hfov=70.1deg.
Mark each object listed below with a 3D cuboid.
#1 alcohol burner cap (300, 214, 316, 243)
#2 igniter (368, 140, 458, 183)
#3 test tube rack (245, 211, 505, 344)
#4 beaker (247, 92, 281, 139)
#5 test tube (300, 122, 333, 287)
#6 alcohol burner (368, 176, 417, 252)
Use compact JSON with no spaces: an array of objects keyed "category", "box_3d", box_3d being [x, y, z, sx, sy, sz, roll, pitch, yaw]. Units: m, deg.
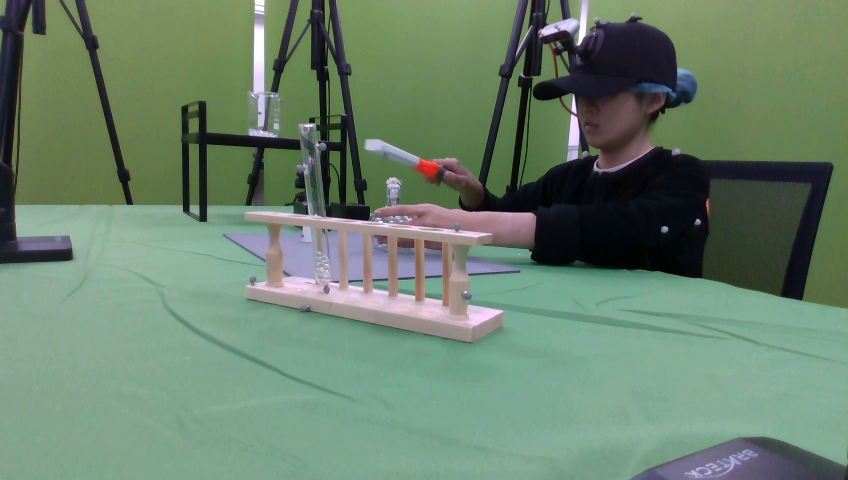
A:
[{"category":"alcohol burner cap","box_3d":[-0.186,-0.018,0.991,0.034,0.048,0.034,1,6,0]},{"category":"igniter","box_3d":[-0.012,-0.138,1.092,0.057,0.025,0.278,6,-3,29]},{"category":"test tube rack","box_3d":[-0.049,0.025,0.547,0.241,0.085,0.067,7,8,29]},{"category":"beaker","box_3d":[-0.361,-0.280,1.359,0.074,0.100,0.084,4,8,8]},{"category":"test tube","box_3d":[-0.096,-0.030,0.543,0.017,0.150,0.017,-3,14,1]},{"category":"alcohol burner","box_3d":[-0.049,-0.041,0.946,0.078,0.119,0.078,3,5,0]}]
